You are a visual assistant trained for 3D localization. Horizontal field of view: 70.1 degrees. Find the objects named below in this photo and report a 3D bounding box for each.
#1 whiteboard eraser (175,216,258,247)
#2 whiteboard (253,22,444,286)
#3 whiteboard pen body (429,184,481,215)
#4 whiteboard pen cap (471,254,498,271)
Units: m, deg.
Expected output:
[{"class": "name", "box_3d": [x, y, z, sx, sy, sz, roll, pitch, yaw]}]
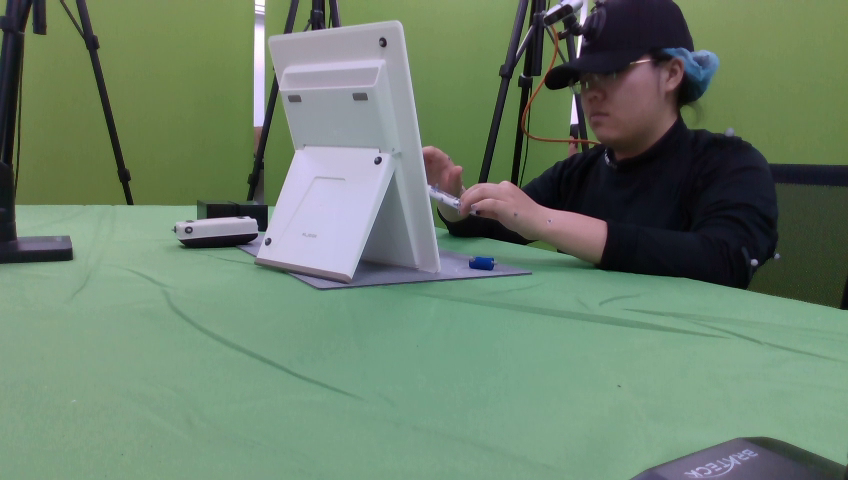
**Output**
[{"class": "whiteboard eraser", "box_3d": [-0.314, -0.012, 0.915, 0.113, 0.042, 0.055, -5, 12, -30]}, {"class": "whiteboard", "box_3d": [-0.125, -0.081, 0.715, 0.216, 0.305, 0.144, 9, 29, 36]}, {"class": "whiteboard pen body", "box_3d": [0.043, -0.063, 0.955, 0.017, 0.017, 0.140, -3, 22, -38]}, {"class": "whiteboard pen cap", "box_3d": [0.081, 0.031, 0.800, 0.033, 0.018, 0.018, 18, 3, -16]}]
